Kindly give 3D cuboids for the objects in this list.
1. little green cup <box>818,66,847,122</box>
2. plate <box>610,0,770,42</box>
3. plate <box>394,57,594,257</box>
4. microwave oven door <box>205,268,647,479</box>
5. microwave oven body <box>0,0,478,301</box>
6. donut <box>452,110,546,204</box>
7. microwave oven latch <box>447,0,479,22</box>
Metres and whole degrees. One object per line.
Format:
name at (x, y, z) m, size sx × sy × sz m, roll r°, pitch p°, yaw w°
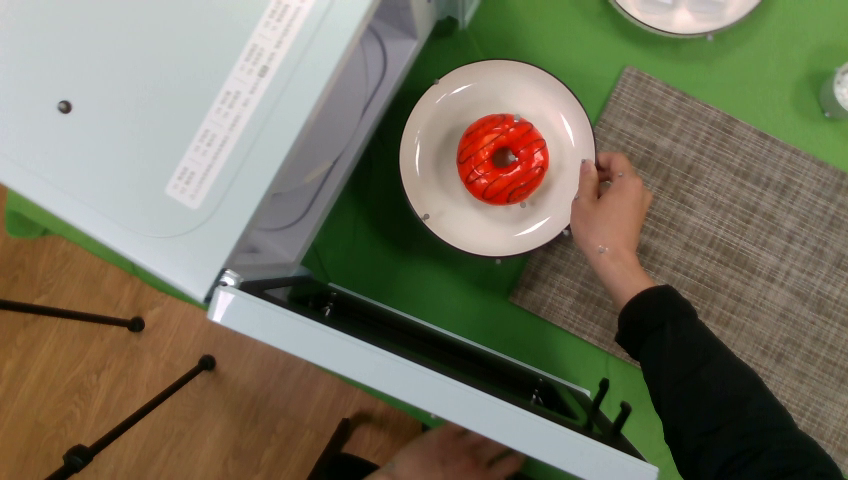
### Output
little green cup at (0.471, -0.160, 0.668) m, size 0.061 × 0.038 × 0.061 m, roll 0°, pitch 88°, yaw 3°
plate at (0.293, -0.322, 0.677) m, size 0.207 × 0.039 × 0.207 m, roll 0°, pitch 89°, yaw 2°
plate at (0.073, -0.086, 0.647) m, size 0.209 × 0.038 × 0.209 m, roll 0°, pitch 92°, yaw 4°
microwave oven door at (0.006, 0.113, 0.565) m, size 0.355 × 0.244 × 0.039 m, roll 22°, pitch 90°, yaw 3°
microwave oven body at (-0.166, -0.207, 0.581) m, size 0.326 × 0.260 × 0.441 m, roll 31°, pitch 91°, yaw 2°
donut at (0.078, -0.087, 0.636) m, size 0.099 × 0.048 × 0.099 m, roll 0°, pitch 92°, yaw 7°
microwave oven latch at (0.056, -0.283, 0.668) m, size 0.030 × 0.029 × 0.079 m, roll 35°, pitch 92°, yaw 2°
